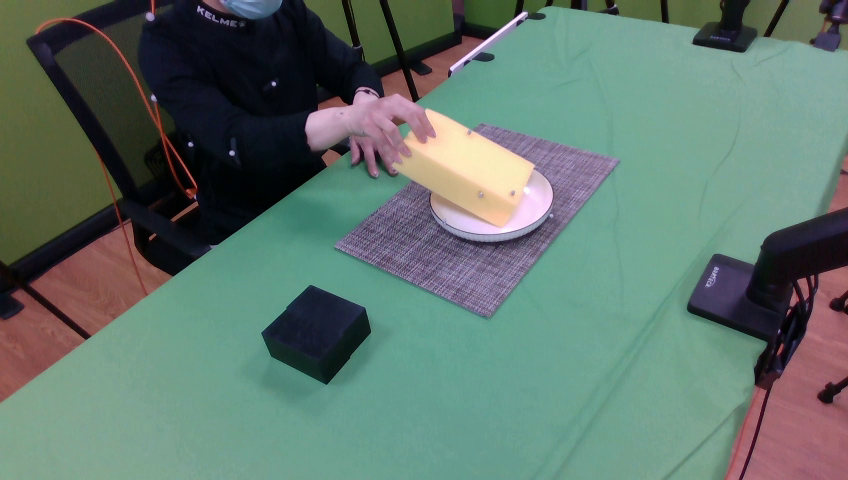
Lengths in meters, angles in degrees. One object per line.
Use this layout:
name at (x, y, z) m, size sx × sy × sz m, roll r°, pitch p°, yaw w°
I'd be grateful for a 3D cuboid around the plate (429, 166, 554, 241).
plate at (0.112, -0.065, 1.011) m, size 0.207 × 0.039 × 0.206 m, roll -4°, pitch 41°, yaw 4°

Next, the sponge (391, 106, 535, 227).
sponge at (0.065, -0.121, 0.989) m, size 0.207 × 0.061 × 0.118 m, roll 28°, pitch 48°, yaw -1°
